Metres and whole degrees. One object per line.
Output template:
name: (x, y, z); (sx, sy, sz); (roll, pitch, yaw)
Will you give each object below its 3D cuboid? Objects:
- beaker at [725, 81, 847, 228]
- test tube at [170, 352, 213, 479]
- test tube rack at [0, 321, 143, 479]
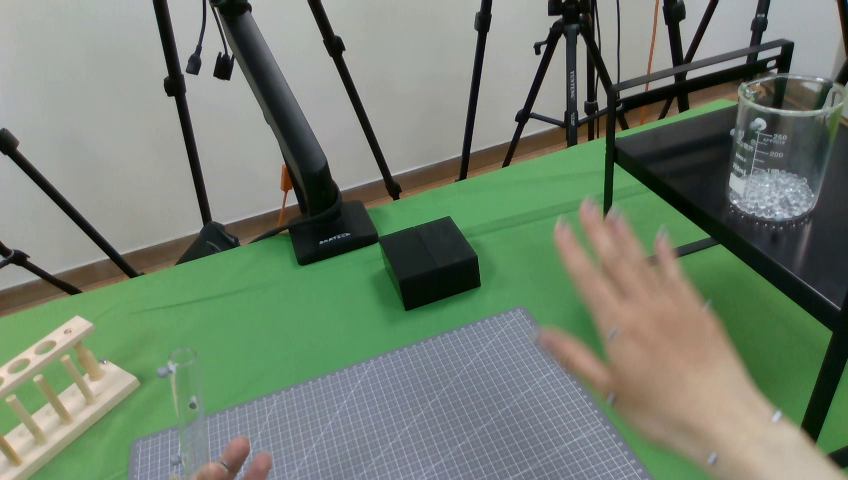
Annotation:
beaker: (0.285, -0.068, 0.489); (0.074, 0.101, 0.083); (-21, 36, -16)
test tube: (-0.142, 0.133, 0.377); (0.017, 0.151, 0.017); (4, 28, -2)
test tube rack: (-0.424, 0.197, 0.617); (0.066, 0.086, 0.242); (15, 42, 31)
